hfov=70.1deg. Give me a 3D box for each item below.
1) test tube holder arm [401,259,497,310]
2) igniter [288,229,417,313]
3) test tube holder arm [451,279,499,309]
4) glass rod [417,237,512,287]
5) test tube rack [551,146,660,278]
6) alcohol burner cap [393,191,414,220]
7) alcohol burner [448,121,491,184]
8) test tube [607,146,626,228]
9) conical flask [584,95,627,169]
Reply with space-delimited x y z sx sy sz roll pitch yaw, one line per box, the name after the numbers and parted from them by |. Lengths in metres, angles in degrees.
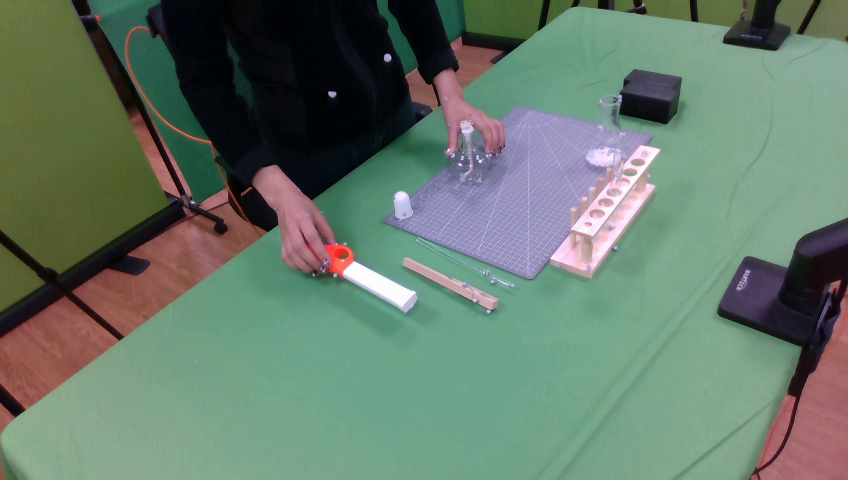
0.033 0.064 0.903 0.177 0.015 0.013 23 15 33 | test tube holder arm
-0.119 0.041 0.922 0.274 0.025 0.057 25 55 36 | igniter
0.071 0.079 0.883 0.087 0.015 0.010 23 16 34 | test tube holder arm
0.059 0.032 0.945 0.198 0.008 0.008 26 52 38 | glass rod
0.286 -0.053 0.943 0.066 0.085 0.243 21 49 32 | test tube rack
-0.038 -0.062 1.044 0.034 0.048 0.033 -5 41 5 | alcohol burner cap
0.081 -0.160 1.083 0.078 0.119 0.077 -4 40 4 | alcohol burner
0.283 -0.074 0.892 0.017 0.151 0.017 -5 44 6 | test tube
0.323 -0.192 1.066 0.075 0.122 0.075 -6 40 5 | conical flask
